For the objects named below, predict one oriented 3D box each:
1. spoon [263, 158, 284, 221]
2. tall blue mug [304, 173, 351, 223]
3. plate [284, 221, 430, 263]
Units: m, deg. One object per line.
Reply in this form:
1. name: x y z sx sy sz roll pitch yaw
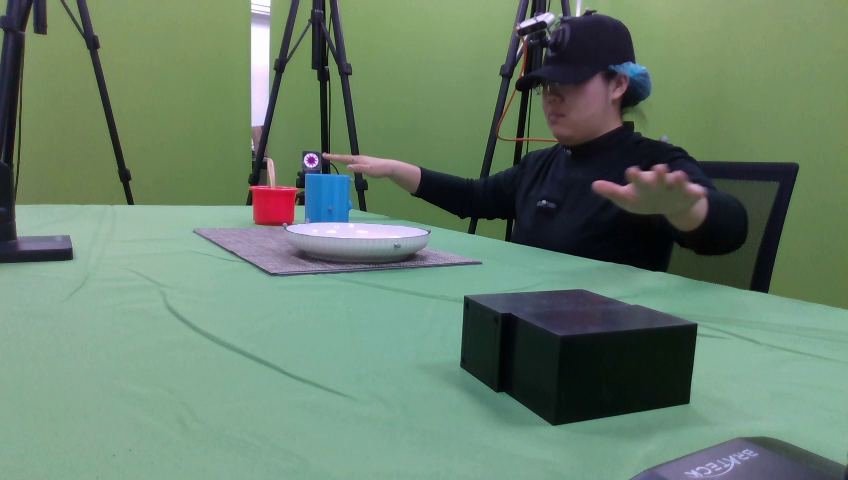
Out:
1. spoon: -0.319 -0.110 1.274 0.042 0.021 0.193 3 51 -20
2. tall blue mug: -0.178 -0.063 1.062 0.078 0.108 0.106 -4 10 -38
3. plate: -0.095 0.002 0.870 0.208 0.039 0.207 2 7 0
